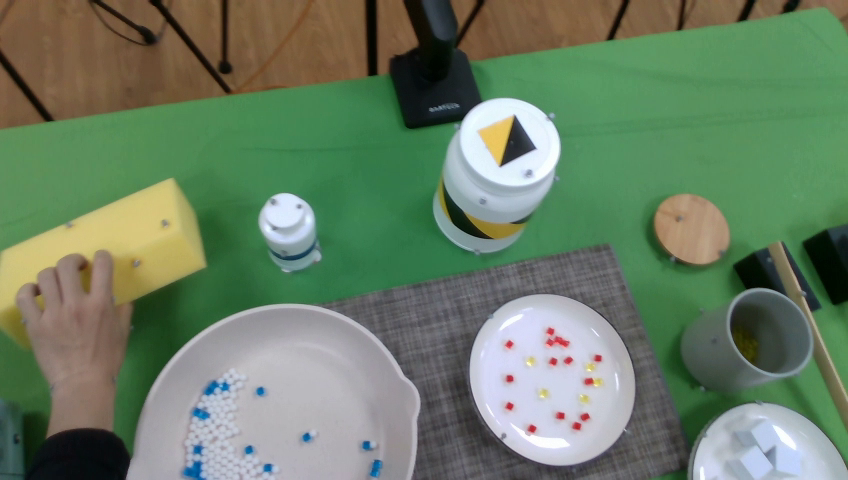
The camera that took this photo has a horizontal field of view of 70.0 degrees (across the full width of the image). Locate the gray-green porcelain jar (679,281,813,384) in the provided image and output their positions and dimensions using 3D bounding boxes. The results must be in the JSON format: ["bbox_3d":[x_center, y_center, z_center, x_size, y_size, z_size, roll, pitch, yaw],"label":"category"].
[{"bbox_3d":[0.386,0.118,0.745,0.106,0.127,0.105,2,69,-6],"label":"gray-green porcelain jar"}]

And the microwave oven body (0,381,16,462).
[{"bbox_3d":[-0.533,0.348,0.470,0.327,0.261,0.438,-11,71,-11],"label":"microwave oven body"}]

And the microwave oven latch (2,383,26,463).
[{"bbox_3d":[-0.442,0.194,0.643,0.030,0.029,0.078,-9,71,-11],"label":"microwave oven latch"}]

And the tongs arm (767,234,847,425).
[{"bbox_3d":[0.530,0.168,0.762,0.051,0.026,0.383,-16,82,-15],"label":"tongs arm"}]

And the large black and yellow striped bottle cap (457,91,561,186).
[{"bbox_3d":[0.095,-0.114,0.675,0.115,0.019,0.114,2,68,-5],"label":"large black and yellow striped bottle cap"}]

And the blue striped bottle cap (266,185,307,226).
[{"bbox_3d":[-0.156,-0.039,0.686,0.044,0.021,0.044,2,67,-3],"label":"blue striped bottle cap"}]

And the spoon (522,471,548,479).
[{"bbox_3d":[0.195,0.325,0.697,0.193,0.022,0.041,28,52,3],"label":"spoon"}]

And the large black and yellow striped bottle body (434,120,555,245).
[{"bbox_3d":[0.086,-0.084,0.755,0.131,0.185,0.130,2,68,-5],"label":"large black and yellow striped bottle body"}]

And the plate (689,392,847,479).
[{"bbox_3d":[0.416,0.291,0.731,0.208,0.039,0.206,2,69,-6],"label":"plate"}]

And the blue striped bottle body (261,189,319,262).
[{"bbox_3d":[-0.161,-0.021,0.734,0.063,0.121,0.062,2,69,-6],"label":"blue striped bottle body"}]

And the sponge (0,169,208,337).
[{"bbox_3d":[-0.362,0.010,0.690,0.207,0.061,0.117,-26,43,-10],"label":"sponge"}]

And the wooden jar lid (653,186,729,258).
[{"bbox_3d":[0.374,-0.024,0.855,0.108,0.021,0.107,2,71,-6],"label":"wooden jar lid"}]

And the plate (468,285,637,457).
[{"bbox_3d":[0.155,0.158,0.745,0.209,0.038,0.207,2,69,-6],"label":"plate"}]

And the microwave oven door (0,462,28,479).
[{"bbox_3d":[-0.382,0.358,0.478,0.039,0.245,0.353,-11,71,-11],"label":"microwave oven door"}]

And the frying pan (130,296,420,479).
[{"bbox_3d":[-0.125,0.297,0.625,0.307,0.103,0.483,-14,63,-9],"label":"frying pan"}]
